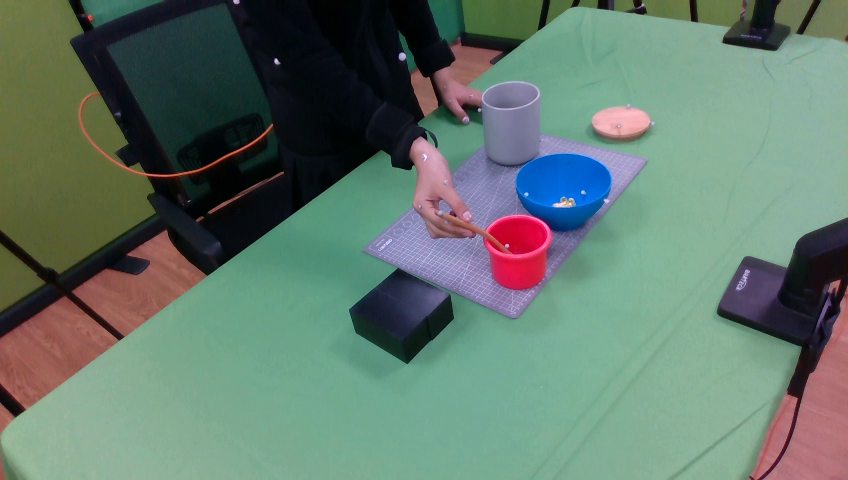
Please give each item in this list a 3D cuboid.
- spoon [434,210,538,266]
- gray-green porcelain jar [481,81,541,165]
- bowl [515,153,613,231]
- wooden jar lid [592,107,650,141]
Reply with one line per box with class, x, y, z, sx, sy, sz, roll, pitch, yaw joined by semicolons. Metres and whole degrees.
spoon;0.090;-0.003;0.860;0.021;0.195;0.041;-58;30;4
gray-green porcelain jar;0.162;-0.212;1.117;0.106;0.127;0.105;-6;40;5
bowl;0.224;-0.068;0.972;0.151;0.077;0.150;-5;40;5
wooden jar lid;0.382;-0.225;1.178;0.108;0.021;0.108;-5;40;4
